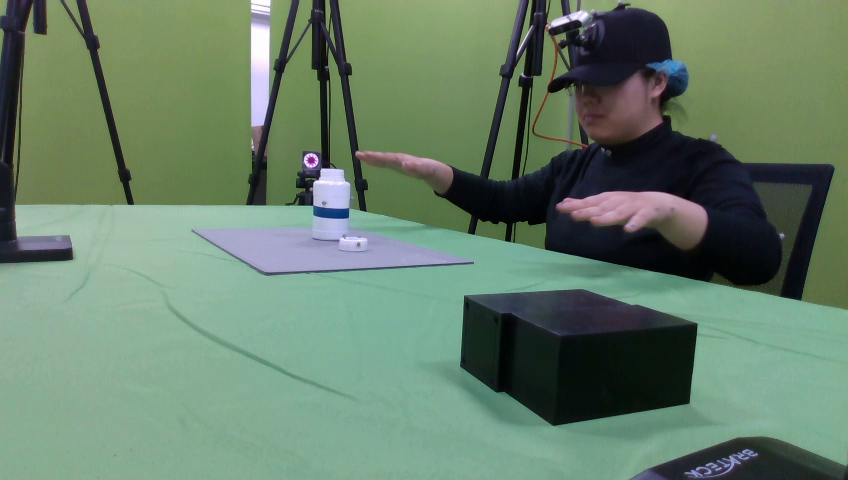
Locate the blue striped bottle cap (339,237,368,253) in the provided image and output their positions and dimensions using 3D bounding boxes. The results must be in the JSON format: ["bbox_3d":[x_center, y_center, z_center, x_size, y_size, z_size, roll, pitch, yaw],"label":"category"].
[{"bbox_3d":[-0.107,0.007,0.920,0.044,0.020,0.044,1,7,0],"label":"blue striped bottle cap"}]

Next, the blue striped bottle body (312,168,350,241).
[{"bbox_3d":[-0.157,-0.062,1.025,0.063,0.120,0.063,3,7,0],"label":"blue striped bottle body"}]
